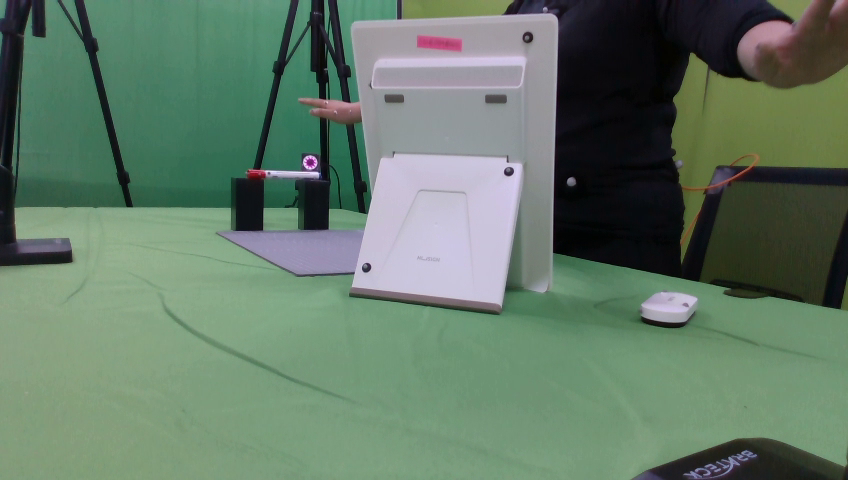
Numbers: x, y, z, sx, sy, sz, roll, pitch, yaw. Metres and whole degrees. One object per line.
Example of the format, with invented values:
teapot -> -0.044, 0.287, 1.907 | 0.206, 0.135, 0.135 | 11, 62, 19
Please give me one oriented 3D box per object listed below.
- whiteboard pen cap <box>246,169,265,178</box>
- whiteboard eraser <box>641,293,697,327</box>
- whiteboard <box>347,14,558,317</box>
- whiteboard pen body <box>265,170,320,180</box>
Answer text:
whiteboard pen cap -> -0.318, -0.125, 1.143 | 0.032, 0.017, 0.017 | -1, 8, -35
whiteboard eraser -> 0.240, 0.066, 0.590 | 0.041, 0.019, 0.102 | 6, 7, 31
whiteboard -> 0.012, -0.056, 0.609 | 0.216, 0.305, 0.144 | 5, 27, 20
whiteboard pen body -> -0.268, -0.127, 1.179 | 0.141, 0.017, 0.017 | -2, 8, -36
